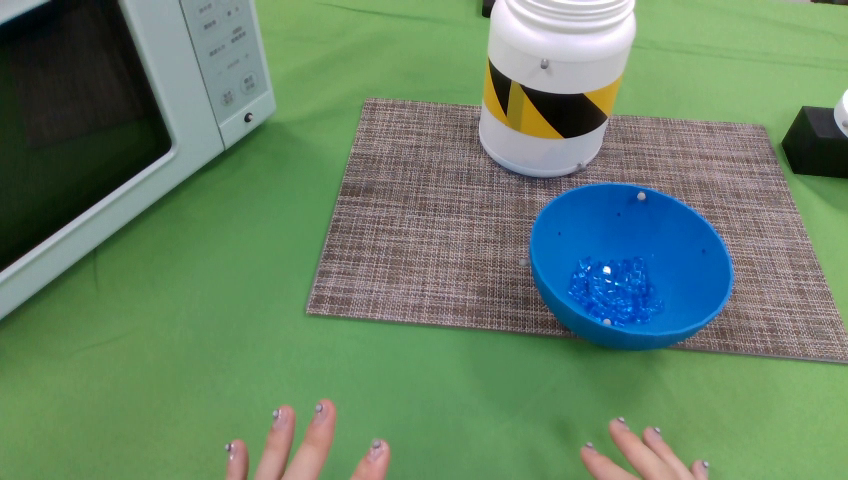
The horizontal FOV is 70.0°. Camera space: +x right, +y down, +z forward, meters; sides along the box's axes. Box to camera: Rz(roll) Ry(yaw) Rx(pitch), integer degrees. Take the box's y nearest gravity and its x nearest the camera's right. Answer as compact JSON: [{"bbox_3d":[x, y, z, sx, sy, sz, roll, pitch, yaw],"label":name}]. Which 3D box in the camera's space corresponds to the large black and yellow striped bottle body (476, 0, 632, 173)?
[{"bbox_3d":[0.121,-0.171,0.583,0.131,0.185,0.129,1,50,-1],"label":"large black and yellow striped bottle body"}]

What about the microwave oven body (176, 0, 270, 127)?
[{"bbox_3d":[-0.409,-0.150,0.504,0.324,0.262,0.440,27,55,19],"label":"microwave oven body"}]

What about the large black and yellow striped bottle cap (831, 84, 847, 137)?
[{"bbox_3d":[0.468,-0.121,0.598,0.115,0.019,0.114,0,49,0],"label":"large black and yellow striped bottle cap"}]

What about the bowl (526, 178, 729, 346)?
[{"bbox_3d":[0.152,0.030,0.485,0.151,0.077,0.150,0,50,0],"label":"bowl"}]

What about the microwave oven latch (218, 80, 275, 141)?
[{"bbox_3d":[-0.189,-0.137,0.625,0.030,0.030,0.079,29,56,21],"label":"microwave oven latch"}]

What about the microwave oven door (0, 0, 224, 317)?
[{"bbox_3d":[-0.310,-0.065,0.428,0.039,0.246,0.354,27,54,20],"label":"microwave oven door"}]
